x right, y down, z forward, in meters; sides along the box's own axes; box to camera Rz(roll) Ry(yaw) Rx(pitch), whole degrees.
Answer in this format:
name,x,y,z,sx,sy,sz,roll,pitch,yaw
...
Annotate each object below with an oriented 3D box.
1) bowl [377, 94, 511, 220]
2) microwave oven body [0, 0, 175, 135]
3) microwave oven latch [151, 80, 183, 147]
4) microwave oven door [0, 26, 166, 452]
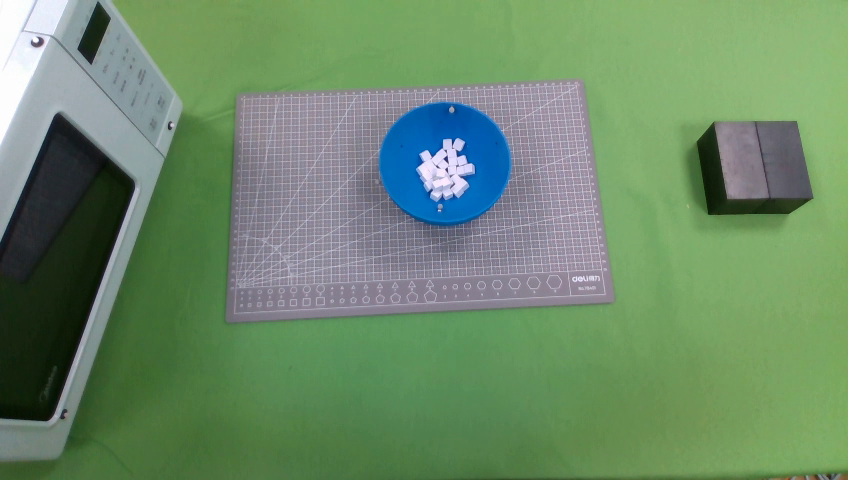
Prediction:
name,x,y,z,sx,sy,sz,roll,pitch,yaw
bowl,0.023,-0.085,0.711,0.151,0.077,0.150,0,73,0
microwave oven body,-0.500,-0.047,0.602,0.326,0.261,0.439,11,74,3
microwave oven latch,-0.319,-0.156,0.737,0.030,0.029,0.079,12,74,3
microwave oven door,-0.365,0.018,0.577,0.039,0.245,0.354,10,73,4
